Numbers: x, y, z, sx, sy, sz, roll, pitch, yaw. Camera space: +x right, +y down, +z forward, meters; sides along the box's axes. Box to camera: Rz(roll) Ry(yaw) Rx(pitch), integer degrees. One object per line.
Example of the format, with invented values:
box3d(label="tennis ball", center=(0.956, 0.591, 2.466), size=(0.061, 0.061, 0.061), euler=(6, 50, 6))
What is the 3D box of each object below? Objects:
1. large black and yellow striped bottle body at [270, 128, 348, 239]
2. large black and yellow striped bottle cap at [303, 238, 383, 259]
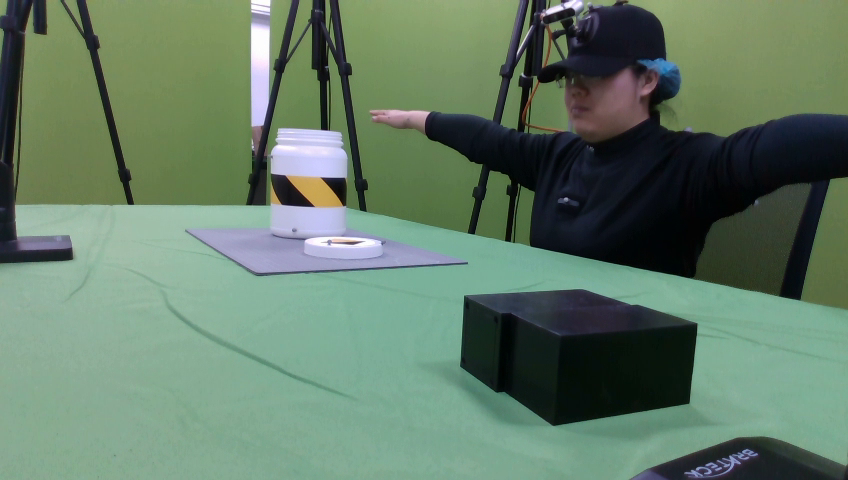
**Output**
box3d(label="large black and yellow striped bottle body", center=(-0.200, -0.099, 1.053), size=(0.131, 0.184, 0.130), euler=(3, 8, 0))
box3d(label="large black and yellow striped bottle cap", center=(-0.117, 0.011, 0.880), size=(0.115, 0.019, 0.115), euler=(2, 6, 0))
